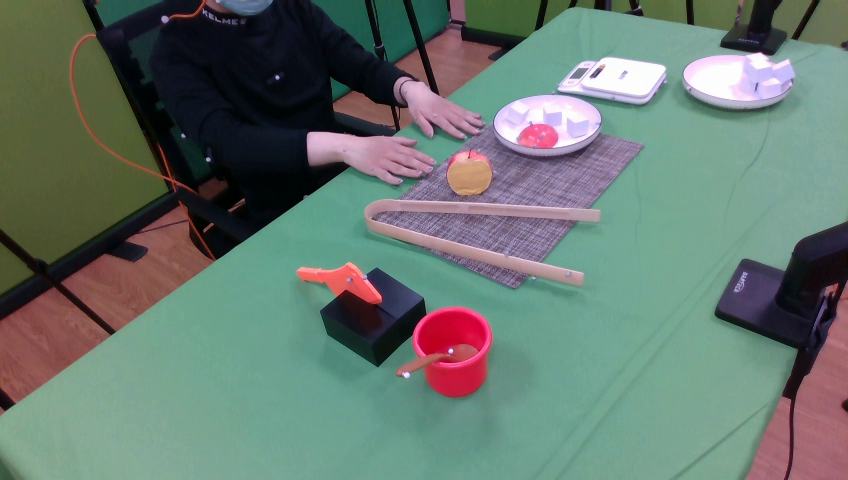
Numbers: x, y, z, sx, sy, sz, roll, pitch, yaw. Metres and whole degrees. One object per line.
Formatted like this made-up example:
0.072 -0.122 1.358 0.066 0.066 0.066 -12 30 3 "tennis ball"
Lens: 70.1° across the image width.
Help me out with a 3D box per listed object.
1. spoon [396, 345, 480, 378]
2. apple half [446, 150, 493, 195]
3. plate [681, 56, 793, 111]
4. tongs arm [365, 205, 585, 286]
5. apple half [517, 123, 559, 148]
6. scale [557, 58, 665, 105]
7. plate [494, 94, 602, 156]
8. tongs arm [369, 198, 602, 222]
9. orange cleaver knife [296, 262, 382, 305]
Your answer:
0.017 0.142 0.715 0.041 0.021 0.195 22 5 27 "spoon"
0.080 -0.124 1.065 0.081 0.075 0.053 -7 37 7 "apple half"
0.636 -0.317 1.239 0.207 0.039 0.206 -4 40 4 "plate"
0.067 0.004 0.951 0.382 0.026 0.051 13 45 23 "tongs arm"
0.221 -0.208 1.161 0.081 0.033 0.081 -6 43 6 "apple half"
0.407 -0.348 1.314 0.199 0.032 0.149 19 47 28 "scale"
0.240 -0.221 1.181 0.209 0.038 0.208 -4 41 4 "plate"
0.097 -0.048 1.008 0.386 0.028 0.028 3 46 13 "tongs arm"
-0.127 0.064 0.875 0.012 0.077 0.210 -43 22 -28 "orange cleaver knife"
